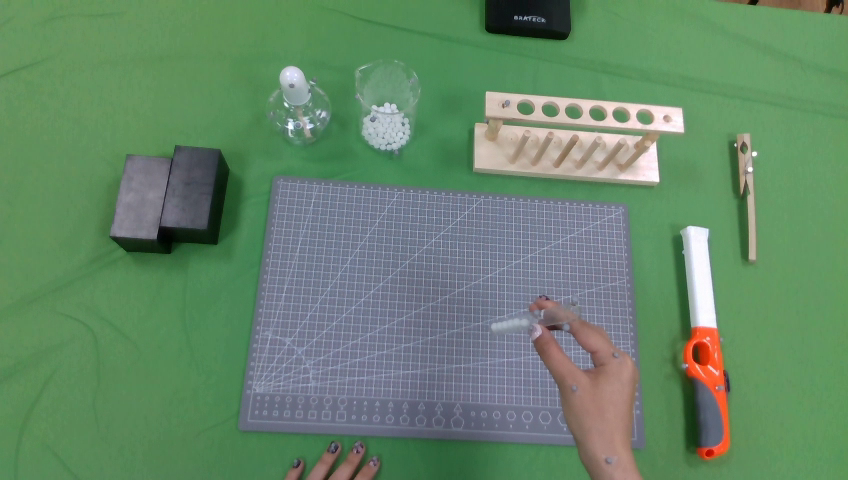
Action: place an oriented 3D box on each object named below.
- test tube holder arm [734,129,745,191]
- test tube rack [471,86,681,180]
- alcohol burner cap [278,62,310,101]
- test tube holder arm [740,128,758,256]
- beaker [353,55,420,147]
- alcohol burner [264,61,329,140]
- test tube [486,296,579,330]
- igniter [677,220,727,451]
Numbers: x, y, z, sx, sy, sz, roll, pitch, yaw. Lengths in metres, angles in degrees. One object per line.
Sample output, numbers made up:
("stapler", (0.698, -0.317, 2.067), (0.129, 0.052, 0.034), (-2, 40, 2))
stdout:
("test tube holder arm", (0.424, -0.108, 0.813), (0.010, 0.015, 0.087), (-6, 69, 29))
("test tube rack", (0.186, -0.131, 0.759), (0.243, 0.085, 0.066), (4, 71, -5))
("alcohol burner cap", (-0.149, -0.182, 0.686), (0.034, 0.048, 0.033), (1, 77, -3))
("test tube holder arm", (0.426, -0.066, 0.796), (0.013, 0.015, 0.177), (-7, 69, 29))
("beaker", (-0.050, -0.166, 0.738), (0.084, 0.101, 0.074), (31, 71, 6))
("alcohol burner", (-0.153, -0.170, 0.720), (0.078, 0.119, 0.077), (2, 69, -5))
("test tube", (0.093, 0.069, 0.554), (0.017, 0.150, 0.017), (5, 76, -19))
("igniter", (0.331, 0.108, 0.726), (0.057, 0.025, 0.275), (8, 71, -14))
